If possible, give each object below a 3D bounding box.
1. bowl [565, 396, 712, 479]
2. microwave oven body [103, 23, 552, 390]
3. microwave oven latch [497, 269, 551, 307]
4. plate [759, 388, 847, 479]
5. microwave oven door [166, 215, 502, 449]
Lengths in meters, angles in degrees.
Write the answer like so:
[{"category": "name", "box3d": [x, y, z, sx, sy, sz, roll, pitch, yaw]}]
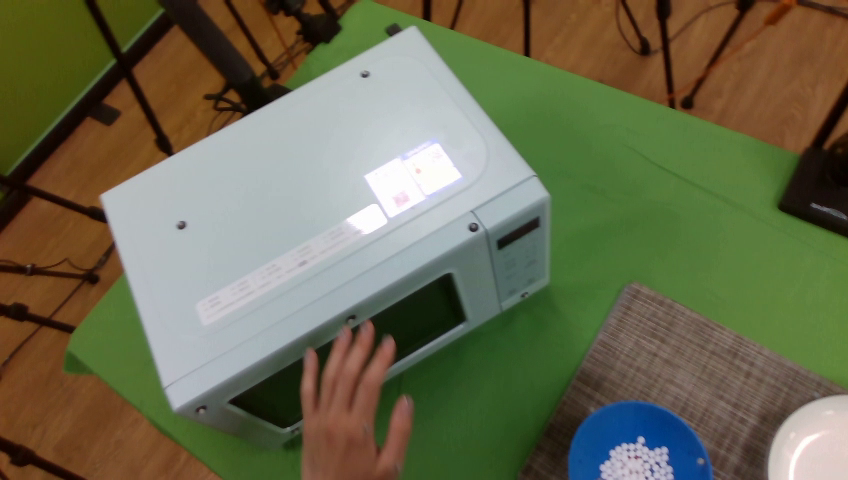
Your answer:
[{"category": "bowl", "box3d": [0.235, 0.260, 0.684, 0.151, 0.077, 0.150, -4, 62, 9]}, {"category": "microwave oven body", "box3d": [-0.108, -0.007, 0.781, 0.442, 0.262, 0.323, -30, 62, -4]}, {"category": "microwave oven latch", "box3d": [0.132, 0.057, 0.813, 0.079, 0.030, 0.030, -29, 62, -4]}, {"category": "plate", "box3d": [0.474, 0.268, 0.657, 0.207, 0.039, 0.206, -4, 63, 9]}, {"category": "microwave oven door", "box3d": [-0.077, 0.119, 0.706, 0.356, 0.246, 0.039, -30, 61, -5]}]
